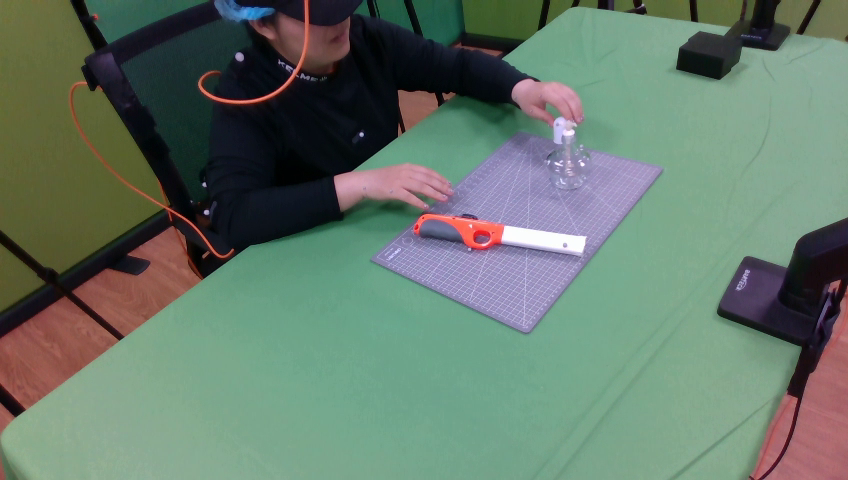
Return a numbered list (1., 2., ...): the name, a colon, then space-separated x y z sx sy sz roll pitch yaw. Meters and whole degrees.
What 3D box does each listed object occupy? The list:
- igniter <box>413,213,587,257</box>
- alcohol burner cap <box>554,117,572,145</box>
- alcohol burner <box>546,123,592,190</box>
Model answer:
1. igniter: 0.116 -0.009 0.959 0.275 0.025 0.057 8 65 17
2. alcohol burner cap: 0.251 -0.199 1.096 0.034 0.048 0.033 -10 40 9
3. alcohol burner: 0.248 -0.147 1.034 0.078 0.120 0.077 -7 41 6
